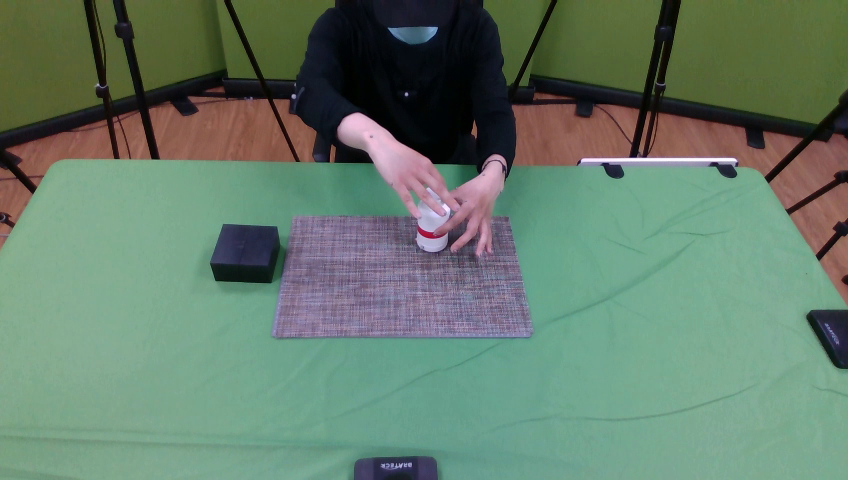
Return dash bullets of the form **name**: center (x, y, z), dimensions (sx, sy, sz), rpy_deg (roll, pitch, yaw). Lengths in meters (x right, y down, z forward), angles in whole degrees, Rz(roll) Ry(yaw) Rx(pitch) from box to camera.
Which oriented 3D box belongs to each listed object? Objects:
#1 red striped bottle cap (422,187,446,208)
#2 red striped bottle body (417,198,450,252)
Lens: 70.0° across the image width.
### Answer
- **red striped bottle cap**: center (0.019, -0.079, 1.118), dimensions (0.044, 0.018, 0.044), rpy_deg (-2, 42, 2)
- **red striped bottle body**: center (0.018, -0.040, 1.160), dimensions (0.063, 0.120, 0.062), rpy_deg (1, 45, -1)
